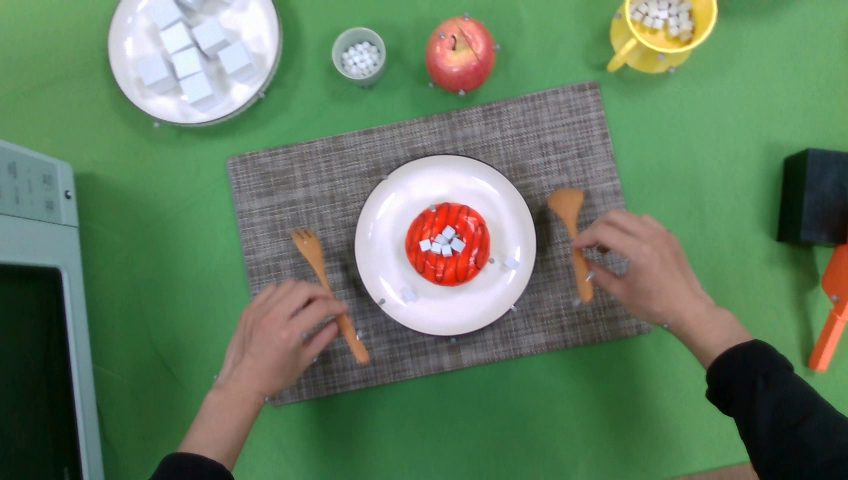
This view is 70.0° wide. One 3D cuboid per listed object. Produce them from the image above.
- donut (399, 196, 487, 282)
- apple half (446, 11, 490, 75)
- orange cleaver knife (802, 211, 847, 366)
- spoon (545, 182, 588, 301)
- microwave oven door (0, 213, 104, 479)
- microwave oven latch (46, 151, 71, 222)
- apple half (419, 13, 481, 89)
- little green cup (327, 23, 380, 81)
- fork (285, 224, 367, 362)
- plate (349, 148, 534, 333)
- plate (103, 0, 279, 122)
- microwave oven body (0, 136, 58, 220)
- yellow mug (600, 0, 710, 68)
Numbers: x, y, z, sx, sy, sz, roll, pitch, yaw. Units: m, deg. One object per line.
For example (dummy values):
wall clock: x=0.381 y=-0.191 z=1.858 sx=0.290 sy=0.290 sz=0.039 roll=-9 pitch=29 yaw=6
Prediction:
donut: x=0.022 y=-0.001 z=0.681 sx=0.099 sy=0.048 sz=0.099 roll=0 pitch=89 yaw=4
apple half: x=0.056 y=-0.229 z=0.690 sx=0.033 sy=0.081 sz=0.081 roll=-32 pitch=85 yaw=4
orange cleaver knife: x=0.446 y=0.038 z=0.650 sx=0.012 sy=0.076 sz=0.213 roll=8 pitch=119 yaw=5
spoon: x=0.154 y=-0.006 z=0.630 sx=0.041 sy=0.022 sz=0.192 roll=-10 pitch=42 yaw=12
microwave oven door: x=-0.407 y=0.148 z=0.585 sx=0.039 sy=0.244 sz=0.355 roll=-9 pitch=86 yaw=2
microwave oven latch: x=-0.432 y=-0.061 z=0.701 sx=0.030 sy=0.029 sz=0.079 roll=-7 pitch=87 yaw=2
apple half: x=0.023 y=-0.207 z=0.692 sx=0.053 sy=0.074 sz=0.081 roll=-32 pitch=89 yaw=5
little green cup: x=-0.080 y=-0.218 z=0.714 sx=0.061 sy=0.039 sz=0.061 roll=0 pitch=86 yaw=3
fork: x=-0.107 y=0.050 z=0.656 sx=0.028 sy=0.019 sz=0.205 roll=-11 pitch=52 yaw=-31
plate: x=0.020 y=0.000 z=0.692 sx=0.209 sy=0.038 sz=0.208 roll=0 pitch=87 yaw=3
plate: x=-0.273 y=-0.239 z=0.724 sx=0.207 sy=0.039 sz=0.207 roll=0 pitch=86 yaw=3
microwave oven body: x=-0.557 y=0.128 z=0.598 sx=0.326 sy=0.260 sz=0.441 roll=-9 pitch=87 yaw=2
yellow mug: x=0.250 y=-0.244 z=0.687 sx=0.131 sy=0.064 sz=0.100 roll=-43 pitch=86 yaw=0
